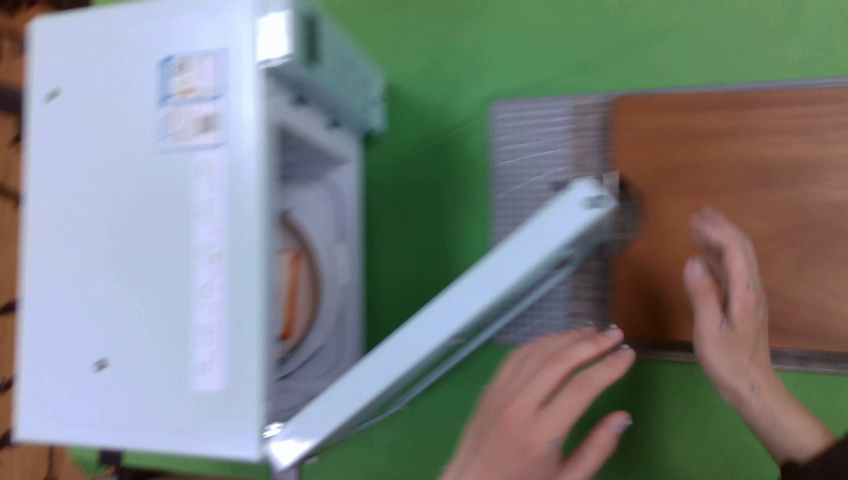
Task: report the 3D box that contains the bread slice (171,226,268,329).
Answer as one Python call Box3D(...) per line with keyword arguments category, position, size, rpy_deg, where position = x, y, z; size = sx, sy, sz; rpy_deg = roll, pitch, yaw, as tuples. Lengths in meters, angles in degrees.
Box3D(category="bread slice", position=(-0.224, 0.044, 0.660), size=(0.134, 0.018, 0.106), rpy_deg=(-5, 84, 27))

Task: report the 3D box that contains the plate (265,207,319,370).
Box3D(category="plate", position=(-0.219, 0.058, 0.722), size=(0.207, 0.039, 0.207), rpy_deg=(-1, 85, 11))

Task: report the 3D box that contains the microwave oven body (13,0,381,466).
Box3D(category="microwave oven body", position=(-0.230, -0.009, 0.681), size=(0.325, 0.261, 0.440), rpy_deg=(-2, 85, 15))

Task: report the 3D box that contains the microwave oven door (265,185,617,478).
Box3D(category="microwave oven door", position=(0.036, 0.088, 0.591), size=(0.356, 0.245, 0.039), rpy_deg=(-41, 75, 9))

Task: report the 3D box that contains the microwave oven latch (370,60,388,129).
Box3D(category="microwave oven latch", position=(-0.061, -0.179, 0.750), size=(0.030, 0.029, 0.079), rpy_deg=(-2, 85, 15))

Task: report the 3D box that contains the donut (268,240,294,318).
Box3D(category="donut", position=(-0.196, 0.045, 0.695), size=(0.099, 0.048, 0.098), rpy_deg=(-2, 80, 14))

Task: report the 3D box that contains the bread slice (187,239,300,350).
Box3D(category="bread slice", position=(-0.224, 0.059, 0.726), size=(0.131, 0.019, 0.105), rpy_deg=(22, 92, 15))
